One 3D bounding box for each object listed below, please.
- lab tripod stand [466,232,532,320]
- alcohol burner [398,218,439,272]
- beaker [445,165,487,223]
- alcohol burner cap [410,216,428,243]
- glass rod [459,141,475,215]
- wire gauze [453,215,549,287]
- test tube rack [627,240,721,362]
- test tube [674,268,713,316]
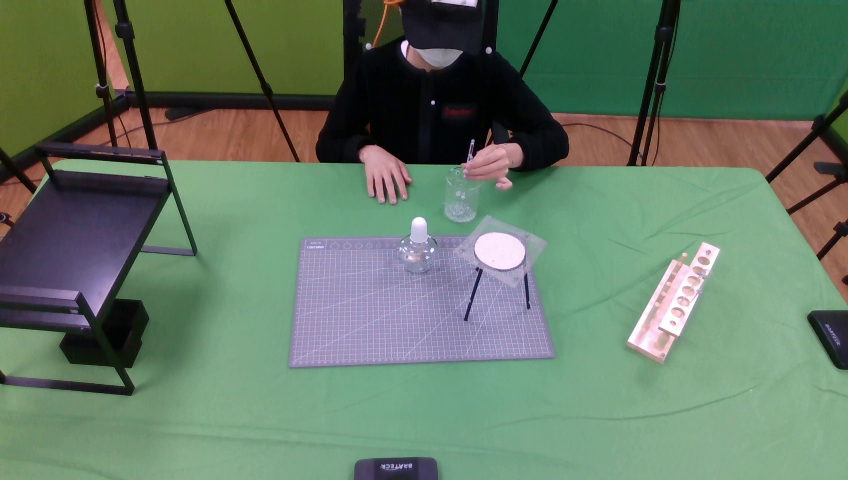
[{"bbox_3d":[0.125,0.059,1.065,0.148,0.132,0.147,1,45,0],"label":"lab tripod stand"},{"bbox_3d":[-0.010,0.004,1.123,0.078,0.120,0.077,1,47,0],"label":"alcohol burner"},{"bbox_3d":[0.082,-0.092,1.236,0.084,0.101,0.073,-7,48,-11],"label":"beaker"},{"bbox_3d":[-0.009,-0.022,1.099,0.034,0.048,0.033,2,41,-1],"label":"alcohol burner cap"},{"bbox_3d":[0.083,-0.117,1.183,0.008,0.200,0.008,3,50,-3],"label":"glass rod"},{"bbox_3d":[0.129,0.012,1.017,0.124,0.011,0.121,28,50,23],"label":"wire gauze"},{"bbox_3d":[0.452,0.098,1.087,0.066,0.085,0.242,28,51,22],"label":"test tube rack"},{"bbox_3d":[0.445,0.098,1.017,0.017,0.151,0.017,4,48,-4],"label":"test tube"}]
